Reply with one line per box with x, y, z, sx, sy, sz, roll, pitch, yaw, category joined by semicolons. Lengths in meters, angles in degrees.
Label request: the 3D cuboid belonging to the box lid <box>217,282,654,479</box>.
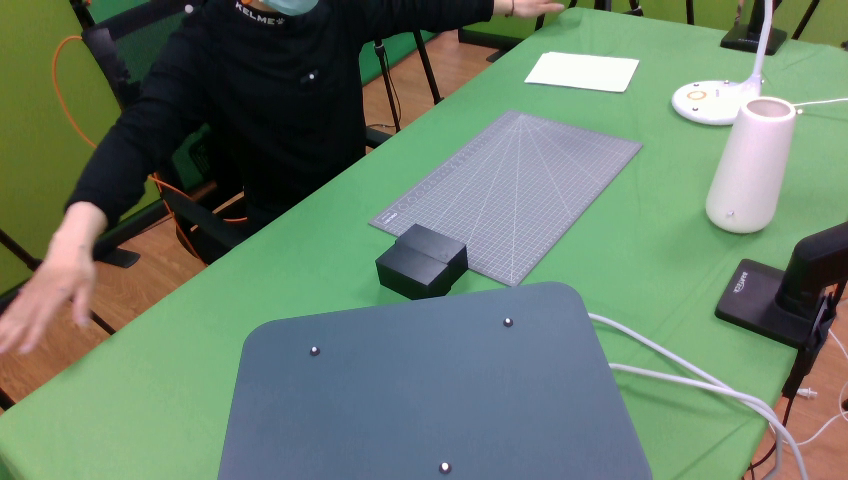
-0.004;0.154;0.571;0.372;0.015;0.261;-8;40;-1;box lid

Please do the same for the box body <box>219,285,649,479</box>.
0.005;0.209;0.619;0.364;0.161;0.252;-8;40;-1;box body

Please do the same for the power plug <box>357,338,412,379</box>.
-0.053;0.159;0.798;0.073;0.035;0.052;20;49;-16;power plug

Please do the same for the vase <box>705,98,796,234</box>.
0.480;-0.104;0.889;0.098;0.201;0.097;-4;42;4;vase

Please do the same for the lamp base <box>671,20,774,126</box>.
0.581;-0.332;1.154;0.179;0.181;0.160;2;41;7;lamp base

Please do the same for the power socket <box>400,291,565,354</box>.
0.079;0.111;0.823;0.227;0.033;0.072;-5;41;1;power socket
